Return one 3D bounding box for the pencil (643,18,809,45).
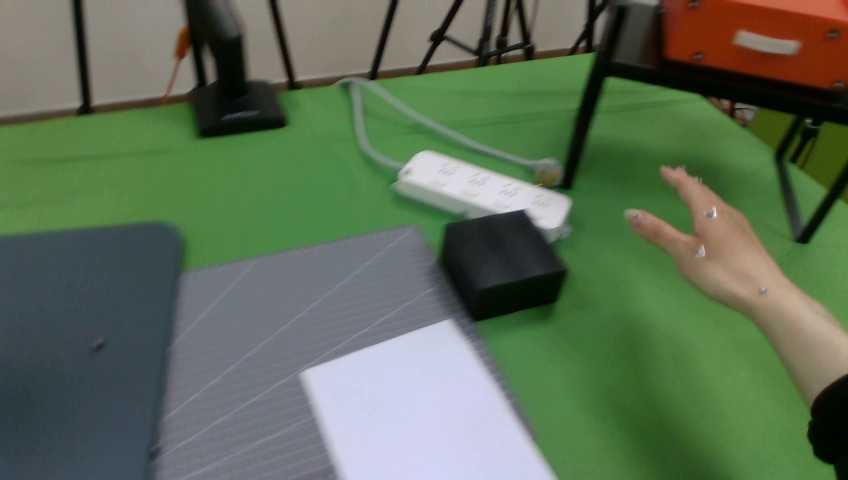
[{"bbox_3d":[0.354,-0.249,0.724,0.192,0.012,0.012,25,44,37],"label":"pencil"}]

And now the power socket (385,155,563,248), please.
[{"bbox_3d":[0.063,-0.050,0.746,0.226,0.033,0.072,19,43,16],"label":"power socket"}]

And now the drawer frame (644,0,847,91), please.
[{"bbox_3d":[0.373,-0.272,0.721,0.201,0.083,0.212,11,41,7],"label":"drawer frame"}]

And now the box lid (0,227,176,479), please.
[{"bbox_3d":[-0.364,0.120,0.522,0.264,0.015,0.367,-6,43,-12],"label":"box lid"}]

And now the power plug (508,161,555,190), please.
[{"bbox_3d":[0.139,-0.082,0.803,0.072,0.035,0.052,-10,23,40],"label":"power plug"}]

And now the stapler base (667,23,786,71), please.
[{"bbox_3d":[0.352,-0.228,0.700,0.130,0.024,0.041,23,42,21],"label":"stapler base"}]

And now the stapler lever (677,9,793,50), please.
[{"bbox_3d":[0.352,-0.247,0.685,0.117,0.040,0.027,23,42,20],"label":"stapler lever"}]

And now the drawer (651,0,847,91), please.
[{"bbox_3d":[0.373,-0.269,0.719,0.194,0.074,0.210,12,41,8],"label":"drawer"}]
